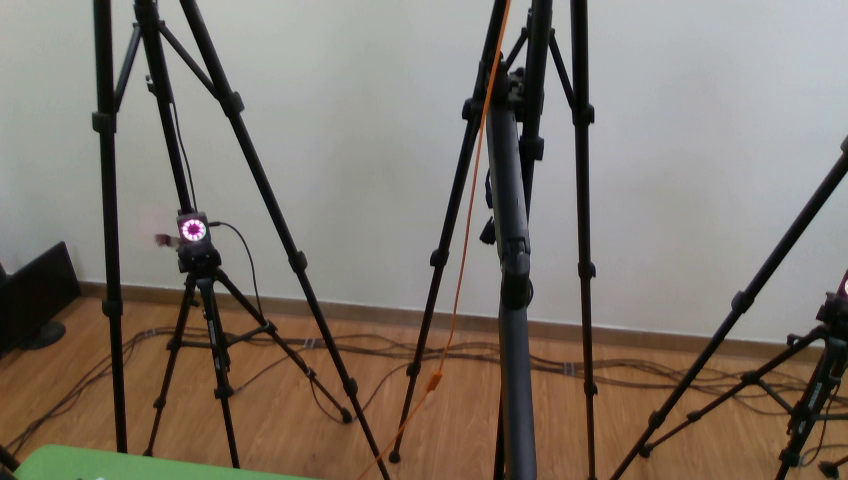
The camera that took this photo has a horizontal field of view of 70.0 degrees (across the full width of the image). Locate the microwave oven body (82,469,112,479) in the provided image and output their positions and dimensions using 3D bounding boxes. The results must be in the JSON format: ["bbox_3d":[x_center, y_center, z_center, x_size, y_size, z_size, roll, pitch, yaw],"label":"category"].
[{"bbox_3d":[-0.419,0.522,0.609,0.323,0.262,0.441,22,39,29],"label":"microwave oven body"}]
